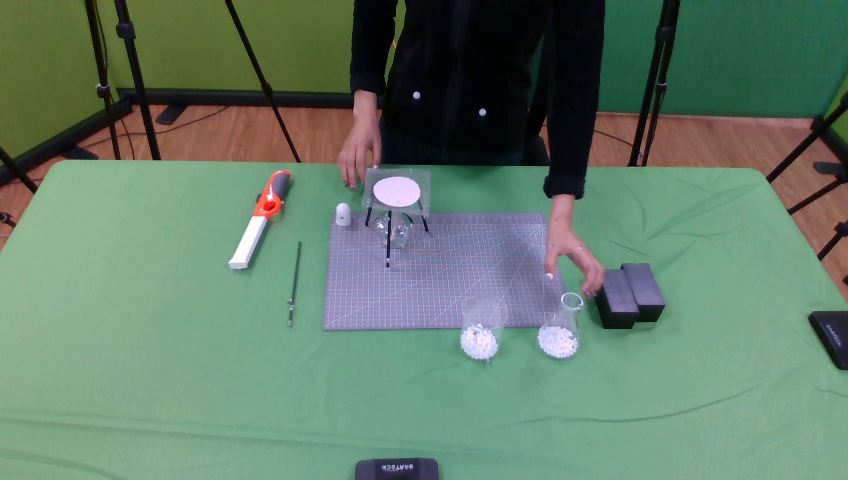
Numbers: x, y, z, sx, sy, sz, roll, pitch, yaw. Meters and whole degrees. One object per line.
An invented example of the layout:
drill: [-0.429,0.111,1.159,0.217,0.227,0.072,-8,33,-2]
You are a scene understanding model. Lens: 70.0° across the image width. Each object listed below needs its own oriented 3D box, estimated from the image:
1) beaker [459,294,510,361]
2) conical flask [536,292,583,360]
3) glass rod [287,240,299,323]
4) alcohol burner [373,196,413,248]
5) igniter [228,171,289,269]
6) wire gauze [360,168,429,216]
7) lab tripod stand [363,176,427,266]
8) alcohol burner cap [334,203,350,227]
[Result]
beaker: [0.095,0.147,1.012,0.083,0.101,0.074,26,49,21]
conical flask: [0.234,0.139,1.015,0.075,0.122,0.075,2,46,-2]
glass rod: [-0.242,0.072,1.119,0.008,0.008,0.198,-1,47,-5]
alcohol burner: [-0.059,-0.041,1.167,0.078,0.119,0.077,4,46,-4]
igniter: [-0.328,-0.049,1.218,0.057,0.025,0.275,1,45,11]
wire gauze: [-0.052,-0.093,1.111,0.125,0.011,0.120,5,44,-1]
lab tripod stand: [-0.058,-0.047,1.159,0.148,0.132,0.147,3,44,-2]
alcohol burner cap: [-0.166,-0.054,1.221,0.034,0.048,0.033,3,46,-2]
